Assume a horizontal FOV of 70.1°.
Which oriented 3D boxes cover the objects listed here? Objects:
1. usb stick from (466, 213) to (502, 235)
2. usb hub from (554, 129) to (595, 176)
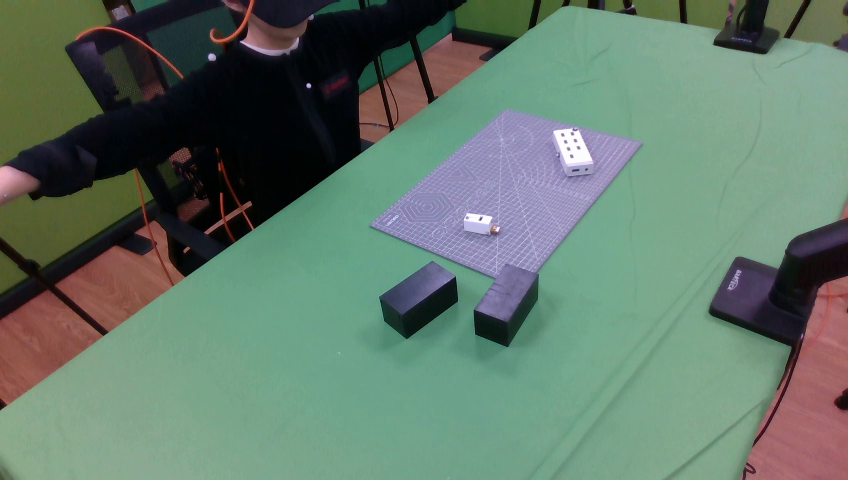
[{"bbox_3d":[0.098,-0.024,0.983,0.059,0.027,0.021,13,41,18],"label":"usb stick"},{"bbox_3d":[0.278,-0.163,1.119,0.049,0.025,0.124,-6,41,2],"label":"usb hub"}]
